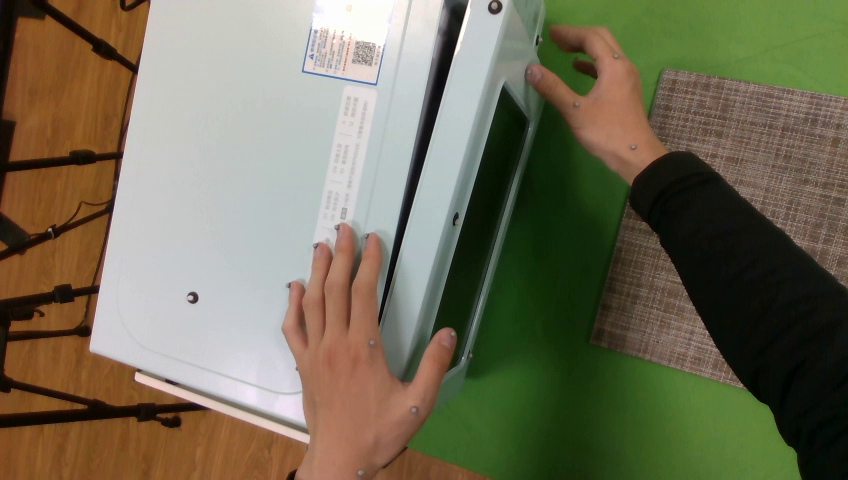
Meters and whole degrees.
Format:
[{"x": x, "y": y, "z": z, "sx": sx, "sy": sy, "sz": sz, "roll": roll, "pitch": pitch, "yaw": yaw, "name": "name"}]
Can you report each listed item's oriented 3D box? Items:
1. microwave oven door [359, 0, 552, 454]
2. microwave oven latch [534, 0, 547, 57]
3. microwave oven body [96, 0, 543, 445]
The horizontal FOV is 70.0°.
[{"x": 0.040, "y": -0.004, "z": 0.565, "sx": 0.039, "sy": 0.245, "sz": 0.356, "roll": 17, "pitch": 95, "yaw": 19, "name": "microwave oven door"}, {"x": 0.110, "y": -0.219, "z": 0.647, "sx": 0.030, "sy": 0.029, "sz": 0.079, "roll": 15, "pitch": 95, "yaw": 17, "name": "microwave oven latch"}, {"x": -0.094, "y": -0.079, "z": 0.614, "sx": 0.324, "sy": 0.261, "sz": 0.442, "roll": 13, "pitch": 95, "yaw": 17, "name": "microwave oven body"}]
